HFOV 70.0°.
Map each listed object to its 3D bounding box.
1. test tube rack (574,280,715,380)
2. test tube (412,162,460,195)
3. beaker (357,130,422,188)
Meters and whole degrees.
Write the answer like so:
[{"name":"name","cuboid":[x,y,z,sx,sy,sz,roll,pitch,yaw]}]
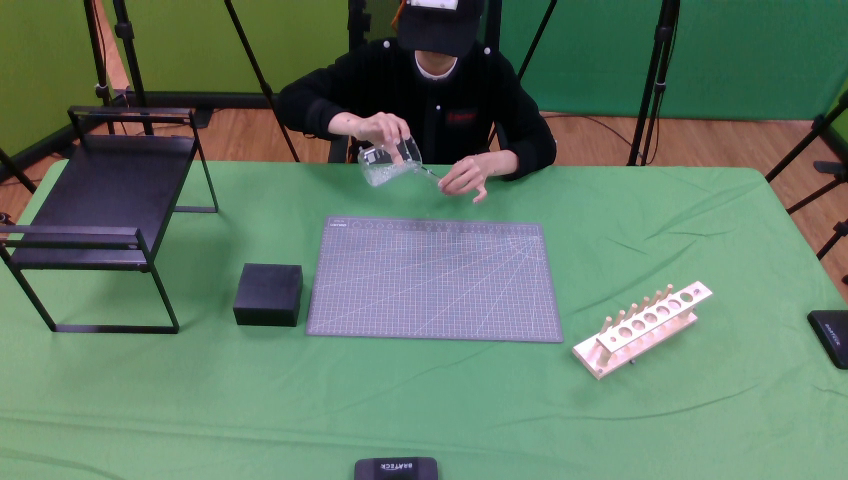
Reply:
[{"name":"test tube rack","cuboid":[0.378,0.140,1.038,0.242,0.085,0.066,-23,51,-23]},{"name":"test tube","cuboid":[0.026,-0.120,1.194,0.017,0.151,0.017,-14,65,34]},{"name":"beaker","cuboid":[-0.064,-0.143,1.100,0.100,0.084,0.073,-27,54,-10]}]
